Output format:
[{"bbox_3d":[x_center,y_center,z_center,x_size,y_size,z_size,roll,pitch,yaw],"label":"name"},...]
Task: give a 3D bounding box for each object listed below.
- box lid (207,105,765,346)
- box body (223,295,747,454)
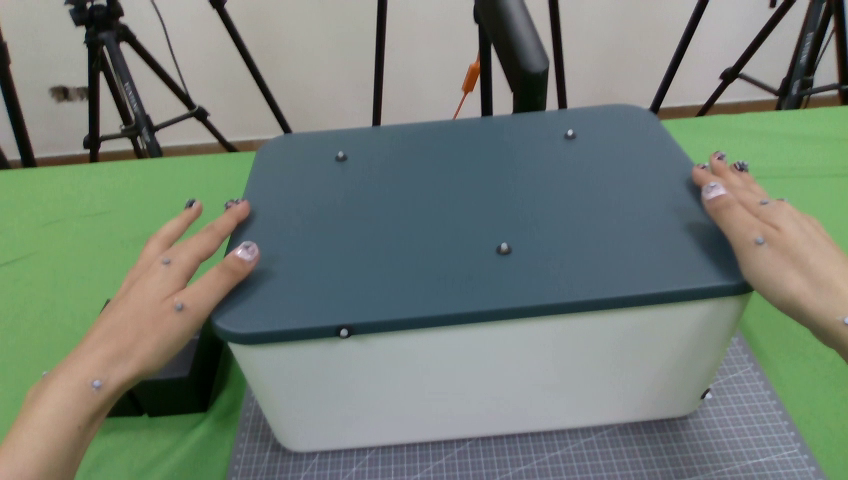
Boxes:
[{"bbox_3d":[0.033,-0.030,0.478,0.372,0.015,0.260,-5,38,-1],"label":"box lid"},{"bbox_3d":[0.040,0.028,0.526,0.364,0.162,0.251,-5,39,-1],"label":"box body"}]
